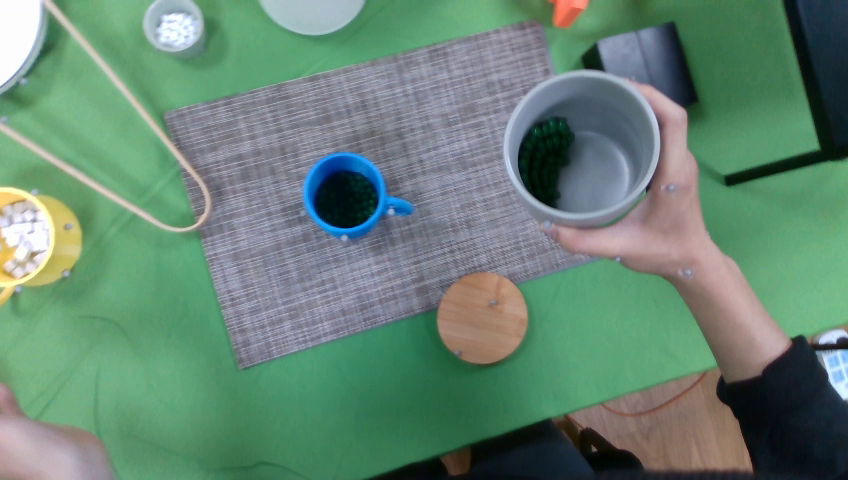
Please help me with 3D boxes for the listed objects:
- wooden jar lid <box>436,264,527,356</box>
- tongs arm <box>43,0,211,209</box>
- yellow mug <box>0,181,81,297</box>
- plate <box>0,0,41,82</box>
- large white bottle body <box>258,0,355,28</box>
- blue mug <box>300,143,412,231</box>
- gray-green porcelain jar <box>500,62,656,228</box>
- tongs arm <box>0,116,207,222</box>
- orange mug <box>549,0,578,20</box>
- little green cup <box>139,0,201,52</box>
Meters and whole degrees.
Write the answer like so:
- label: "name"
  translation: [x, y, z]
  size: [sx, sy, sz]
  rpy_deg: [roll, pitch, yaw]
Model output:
- label: "wooden jar lid"
  translation: [0.067, 0.081, 0.714]
  size: [0.108, 0.020, 0.108]
  rpy_deg: [0, 93, -6]
- label: "tongs arm"
  translation: [-0.356, -0.191, 0.645]
  size: [0.028, 0.027, 0.389]
  rpy_deg: [-42, 100, -14]
- label: "yellow mug"
  translation: [-0.433, 0.005, 0.634]
  size: [0.100, 0.064, 0.130]
  rpy_deg: [22, 87, -6]
- label: "plate"
  translation: [-0.514, -0.249, 0.644]
  size: [0.208, 0.039, 0.207]
  rpy_deg: [0, 89, -7]
- label: "large white bottle body"
  translation: [-0.128, -0.313, 0.618]
  size: [0.131, 0.184, 0.130]
  rpy_deg: [0, 88, -6]
- label: "blue mug"
  translation: [-0.071, -0.051, 0.655]
  size: [0.117, 0.106, 0.082]
  rpy_deg: [9, 87, -6]
- label: "gray-green porcelain jar"
  translation: [0.119, -0.065, 0.473]
  size: [0.105, 0.127, 0.105]
  rpy_deg: [-1, 85, 14]
- label: "tongs arm"
  translation: [-0.409, -0.127, 0.634]
  size: [0.386, 0.026, 0.050]
  rpy_deg: [36, 81, -12]
- label: "orange mug"
  translation: [0.168, -0.326, 0.697]
  size: [0.083, 0.101, 0.126]
  rpy_deg: [7, 83, -6]
- label: "little green cup"
  translation: [-0.279, -0.240, 0.672]
  size: [0.062, 0.038, 0.061]
  rpy_deg: [0, 89, -7]
